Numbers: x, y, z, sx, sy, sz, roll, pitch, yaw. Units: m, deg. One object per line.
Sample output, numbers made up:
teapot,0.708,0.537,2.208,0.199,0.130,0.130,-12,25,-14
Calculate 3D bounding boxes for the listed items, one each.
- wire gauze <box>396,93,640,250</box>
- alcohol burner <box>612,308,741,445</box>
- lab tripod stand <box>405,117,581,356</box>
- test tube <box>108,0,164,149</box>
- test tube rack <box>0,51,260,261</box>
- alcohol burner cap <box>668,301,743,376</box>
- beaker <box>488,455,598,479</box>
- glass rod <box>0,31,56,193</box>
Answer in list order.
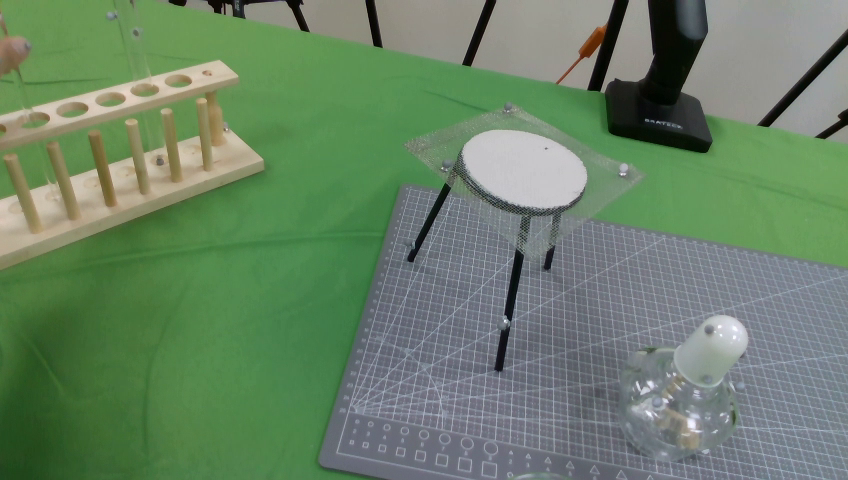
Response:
wire gauze,0.064,-0.057,0.407,0.121,0.011,0.124,-30,58,-33
alcohol burner,0.169,0.082,0.396,0.078,0.120,0.077,7,43,-6
lab tripod stand,0.057,-0.010,0.454,0.149,0.132,0.147,7,45,-6
test tube,-0.237,-0.141,0.499,0.017,0.151,0.017,3,41,-3
test tube rack,-0.262,-0.075,0.500,0.242,0.086,0.066,-29,57,-34
alcohol burner cap,0.174,0.058,0.369,0.034,0.048,0.033,4,48,-5
beaker,0.048,0.166,0.302,0.084,0.101,0.073,4,44,-5
glass rod,-0.302,-0.120,0.442,0.008,0.201,0.008,3,36,-2
